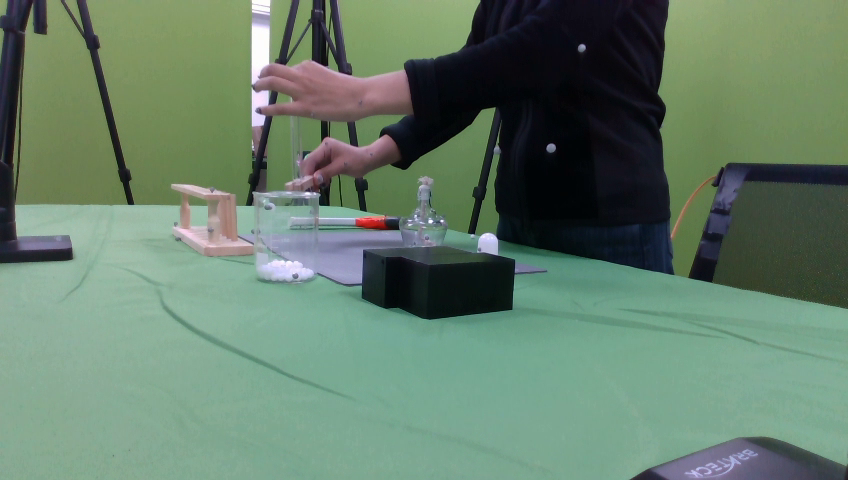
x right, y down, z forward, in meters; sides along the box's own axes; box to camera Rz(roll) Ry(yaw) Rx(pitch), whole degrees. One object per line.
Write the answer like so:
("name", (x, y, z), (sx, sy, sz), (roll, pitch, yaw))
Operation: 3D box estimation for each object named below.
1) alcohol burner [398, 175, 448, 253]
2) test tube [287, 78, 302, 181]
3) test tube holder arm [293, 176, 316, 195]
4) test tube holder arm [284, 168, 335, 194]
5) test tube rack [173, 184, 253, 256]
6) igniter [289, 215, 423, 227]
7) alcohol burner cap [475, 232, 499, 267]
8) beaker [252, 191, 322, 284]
("alcohol burner", (-0.001, -0.041, 0.937), (0.078, 0.119, 0.078), (0, 7, 0))
("test tube", (-0.191, -0.162, 0.895), (0.017, 0.150, 0.017), (0, 14, 0))
("test tube holder arm", (-0.184, -0.085, 0.936), (0.010, 0.015, 0.088), (5, 16, 5))
("test tube holder arm", (-0.181, -0.098, 0.980), (0.013, 0.015, 0.178), (7, 17, 11))
("test tube rack", (-0.329, -0.036, 0.927), (0.067, 0.085, 0.241), (-2, 9, -32))
("igniter", (-0.133, -0.038, 1.231), (0.278, 0.025, 0.057), (-1, -2, -26))
("alcohol burner cap", (0.088, 0.012, 0.830), (0.034, 0.048, 0.034), (2, 6, 0))
("beaker", (-0.159, -0.005, 0.685), (0.083, 0.100, 0.074), (5, 7, 23))
